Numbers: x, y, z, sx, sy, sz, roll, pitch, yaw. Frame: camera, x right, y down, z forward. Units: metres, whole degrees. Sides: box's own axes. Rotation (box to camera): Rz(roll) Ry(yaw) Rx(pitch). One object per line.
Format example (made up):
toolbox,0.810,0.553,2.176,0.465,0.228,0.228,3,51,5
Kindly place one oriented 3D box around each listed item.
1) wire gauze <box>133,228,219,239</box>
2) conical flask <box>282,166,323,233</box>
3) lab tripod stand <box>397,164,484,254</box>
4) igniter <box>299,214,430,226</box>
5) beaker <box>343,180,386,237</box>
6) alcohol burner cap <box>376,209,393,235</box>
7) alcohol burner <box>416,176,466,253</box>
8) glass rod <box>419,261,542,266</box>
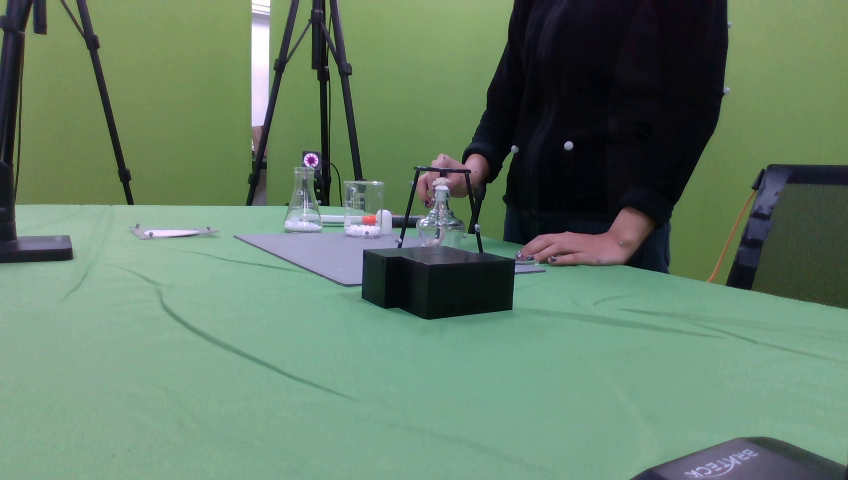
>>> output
wire gauze,-0.421,-0.014,1.024,0.122,0.011,0.124,-2,7,-34
conical flask,-0.225,-0.076,1.129,0.075,0.122,0.075,2,8,0
lab tripod stand,0.029,-0.049,0.930,0.148,0.131,0.148,4,6,0
igniter,-0.123,-0.044,1.281,0.278,0.025,0.057,0,-2,-19
beaker,-0.111,-0.058,1.090,0.083,0.100,0.074,7,8,34
alcohol burner cap,-0.075,-0.035,1.150,0.034,0.048,0.034,2,7,0
alcohol burner,0.027,-0.039,0.934,0.078,0.119,0.078,3,9,0
glass rod,0.080,0.031,0.807,0.201,0.008,0.008,1,6,-31
